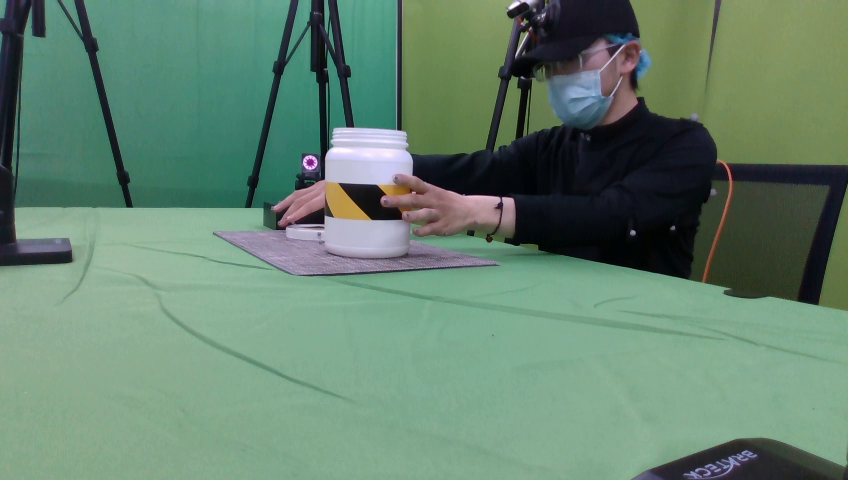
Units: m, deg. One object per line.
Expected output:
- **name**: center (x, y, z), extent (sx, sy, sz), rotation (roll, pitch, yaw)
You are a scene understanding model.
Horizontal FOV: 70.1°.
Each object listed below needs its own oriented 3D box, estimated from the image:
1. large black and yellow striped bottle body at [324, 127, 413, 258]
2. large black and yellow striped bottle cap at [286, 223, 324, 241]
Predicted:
- **large black and yellow striped bottle body**: center (-0.083, -0.073, 0.899), extent (0.131, 0.184, 0.130), rotation (2, 8, 0)
- **large black and yellow striped bottle cap**: center (-0.187, -0.015, 1.077), extent (0.115, 0.019, 0.115), rotation (1, 9, 0)
